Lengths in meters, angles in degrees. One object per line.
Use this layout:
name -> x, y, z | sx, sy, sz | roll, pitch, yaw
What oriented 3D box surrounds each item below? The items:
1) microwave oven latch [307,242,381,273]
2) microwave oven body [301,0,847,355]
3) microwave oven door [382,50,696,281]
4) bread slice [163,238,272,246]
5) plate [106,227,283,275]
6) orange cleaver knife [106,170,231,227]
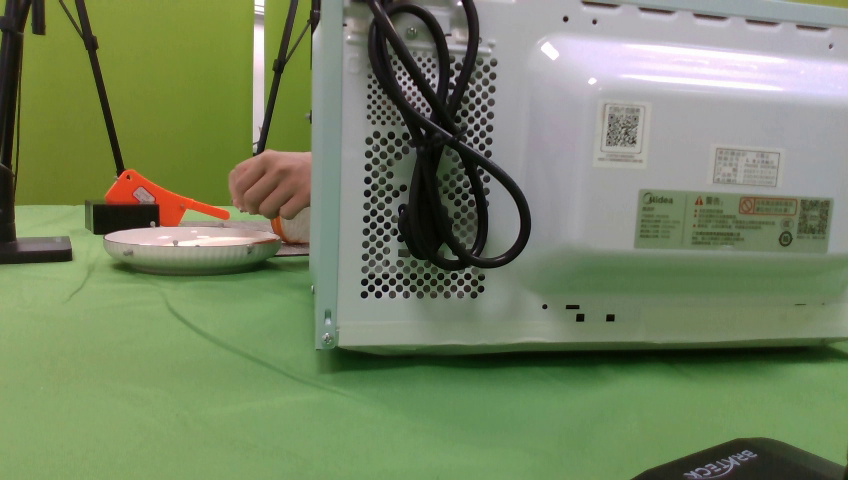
microwave oven latch -> -0.086, 0.018, 0.656 | 0.079, 0.029, 0.030 | 2, 7, -9
microwave oven body -> 0.120, -0.053, 0.535 | 0.443, 0.260, 0.325 | 2, 7, -11
microwave oven door -> 0.135, -0.077, 0.685 | 0.357, 0.243, 0.039 | 1, 7, -12
bread slice -> -0.268, 0.014, 0.759 | 0.106, 0.018, 0.135 | 2, 8, 21
plate -> -0.288, 0.013, 0.772 | 0.208, 0.039, 0.207 | 2, 7, 0
orange cleaver knife -> -0.458, -0.060, 1.097 | 0.212, 0.077, 0.012 | 23, -4, -38
